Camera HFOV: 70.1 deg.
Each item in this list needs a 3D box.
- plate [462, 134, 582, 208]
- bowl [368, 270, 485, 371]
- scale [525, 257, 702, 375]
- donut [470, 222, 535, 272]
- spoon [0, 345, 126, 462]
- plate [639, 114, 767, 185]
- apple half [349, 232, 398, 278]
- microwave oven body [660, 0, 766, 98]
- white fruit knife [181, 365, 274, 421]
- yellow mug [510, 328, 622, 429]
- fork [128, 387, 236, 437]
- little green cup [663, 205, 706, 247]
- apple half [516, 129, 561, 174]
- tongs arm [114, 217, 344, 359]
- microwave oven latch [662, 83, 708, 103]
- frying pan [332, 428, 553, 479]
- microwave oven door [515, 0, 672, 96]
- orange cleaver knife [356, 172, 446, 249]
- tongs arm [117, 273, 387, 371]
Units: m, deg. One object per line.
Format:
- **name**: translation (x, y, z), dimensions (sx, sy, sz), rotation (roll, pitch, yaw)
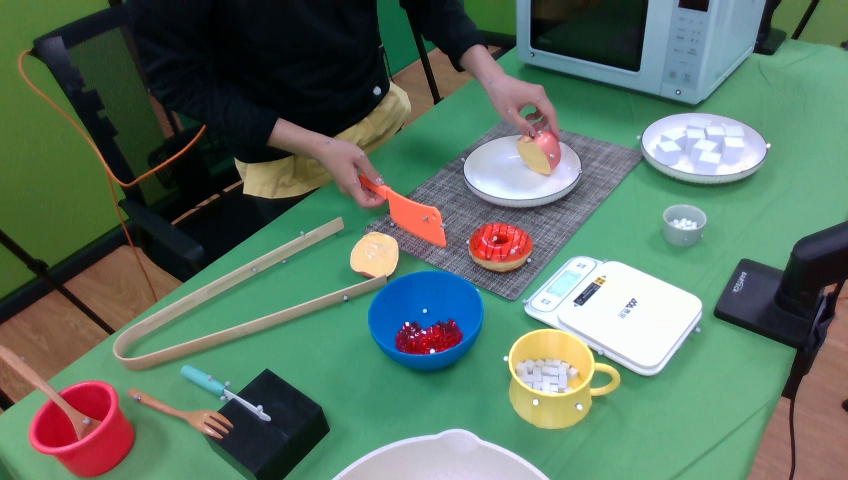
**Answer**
- **plate**: translation (0.173, -0.119, 1.070), dimensions (0.209, 0.038, 0.208), rotation (-4, 40, 4)
- **bowl**: translation (0.007, 0.118, 0.791), dimensions (0.151, 0.077, 0.150), rotation (-5, 40, 4)
- **scale**: translation (0.254, 0.091, 0.821), dimensions (0.199, 0.032, 0.149), rotation (27, 51, 35)
- **donut**: translation (0.119, 0.009, 0.923), dimensions (0.099, 0.048, 0.098), rotation (-4, 38, 3)
- **spoon**: translation (-0.434, 0.192, 0.720), dimensions (0.194, 0.021, 0.042), rotation (47, 53, -7)
- **plate**: translation (0.489, -0.157, 1.074), dimensions (0.207, 0.039, 0.206), rotation (-4, 40, 4)
- **apple half**: translation (-0.073, 0.028, 0.938), dimensions (0.081, 0.033, 0.081), rotation (-3, 68, 8)
- **microwave oven body**: translation (0.472, -0.513, 1.317), dimensions (0.438, 0.261, 0.327), rotation (26, 51, 34)
- **white fruit knife**: translation (-0.245, 0.187, 0.747), dimensions (0.205, 0.027, 0.016), rotation (9, 41, 40)
- **yellow mug**: translation (0.168, 0.164, 0.722), dimensions (0.130, 0.064, 0.099), rotation (0, 40, 8)
- **fork**: translation (-0.305, 0.207, 0.744), dimensions (0.206, 0.019, 0.028), rotation (3, 41, 36)
- **little green cup**: translation (0.396, -0.020, 0.926), dimensions (0.061, 0.039, 0.061), rotation (-4, 40, 4)
- **apple half**: translation (0.209, -0.159, 1.060), dimensions (0.053, 0.075, 0.080), rotation (-42, 25, -15)
- **tongs arm**: translation (-0.280, 0.068, 0.927), dimensions (0.386, 0.026, 0.050), rotation (-29, 49, -22)
- **microwave oven latch**: translation (0.517, -0.296, 1.204), dimensions (0.078, 0.029, 0.030), rotation (27, 52, 35)
- **frying pan**: translation (-0.089, 0.306, 0.564), dimensions (0.487, 0.103, 0.306), rotation (10, 41, 7)
- **microwave oven door**: translation (0.343, -0.455, 1.259), dimensions (0.353, 0.245, 0.039), rotation (26, 51, 33)
- **orange cleaver knife**: translation (-0.040, -0.051, 0.994), dimensions (0.012, 0.077, 0.209), rotation (-29, 44, -35)
- **tongs arm**: translation (-0.237, 0.115, 0.870), dimensions (0.389, 0.028, 0.028), rotation (-18, 49, -12)
